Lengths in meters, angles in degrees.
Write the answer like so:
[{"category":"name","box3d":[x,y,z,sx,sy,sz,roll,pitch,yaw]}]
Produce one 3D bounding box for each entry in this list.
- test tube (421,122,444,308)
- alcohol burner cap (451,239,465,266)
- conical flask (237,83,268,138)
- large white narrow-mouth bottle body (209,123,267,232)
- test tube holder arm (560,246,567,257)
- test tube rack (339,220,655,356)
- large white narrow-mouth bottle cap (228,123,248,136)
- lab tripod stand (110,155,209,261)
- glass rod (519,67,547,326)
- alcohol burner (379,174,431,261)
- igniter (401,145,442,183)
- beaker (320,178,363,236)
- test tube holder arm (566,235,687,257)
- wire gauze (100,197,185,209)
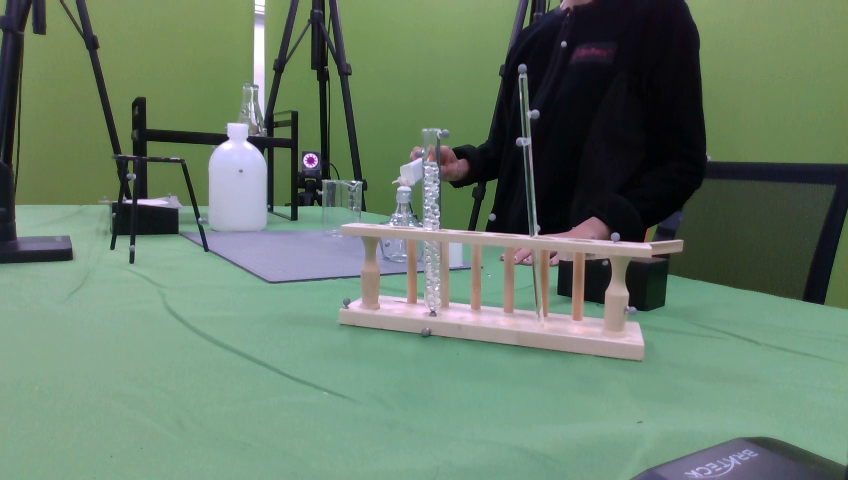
[{"category":"test tube","box3d":[0.007,-0.019,0.486,0.017,0.150,0.017,-1,8,0]},{"category":"alcohol burner cap","box3d":[0.040,0.010,0.815,0.034,0.048,0.034,4,8,0]},{"category":"conical flask","box3d":[-0.402,-0.299,1.406,0.075,0.122,0.075,2,7,0]},{"category":"large white narrow-mouth bottle body","box3d":[-0.340,-0.115,1.109,0.102,0.194,0.102,2,8,0]},{"category":"test tube holder arm","box3d":[0.173,0.007,0.611,0.088,0.015,0.010,-3,9,-30]},{"category":"test tube rack","box3d":[0.056,0.032,0.495,0.242,0.085,0.067,4,7,15]},{"category":"large white narrow-mouth bottle cap","box3d":[-0.338,-0.200,1.097,0.038,0.024,0.037,2,8,0]},{"category":"lab tripod stand","box3d":[-0.361,-0.046,0.806,0.148,0.131,0.148,2,5,0]},{"category":"glass rod","box3d":[0.084,-0.029,0.458,0.008,0.199,0.008,-6,11,2]},{"category":"alcohol burner","box3d":[-0.027,-0.031,0.838,0.078,0.119,0.078,0,6,0]},{"category":"igniter","box3d":[0.000,-0.122,0.978,0.025,0.057,0.277,-10,10,11]},{"category":"beaker","box3d":[-0.145,-0.059,1.079,0.074,0.100,0.083,-4,10,-36]},{"category":"test tube holder arm","box3d":[0.215,0.006,0.630,0.179,0.015,0.013,-3,9,-31]},{"category":"wire gauze","box3d":[-0.469,-0.062,1.008,0.126,0.011,0.121,-2,8,-25]}]
